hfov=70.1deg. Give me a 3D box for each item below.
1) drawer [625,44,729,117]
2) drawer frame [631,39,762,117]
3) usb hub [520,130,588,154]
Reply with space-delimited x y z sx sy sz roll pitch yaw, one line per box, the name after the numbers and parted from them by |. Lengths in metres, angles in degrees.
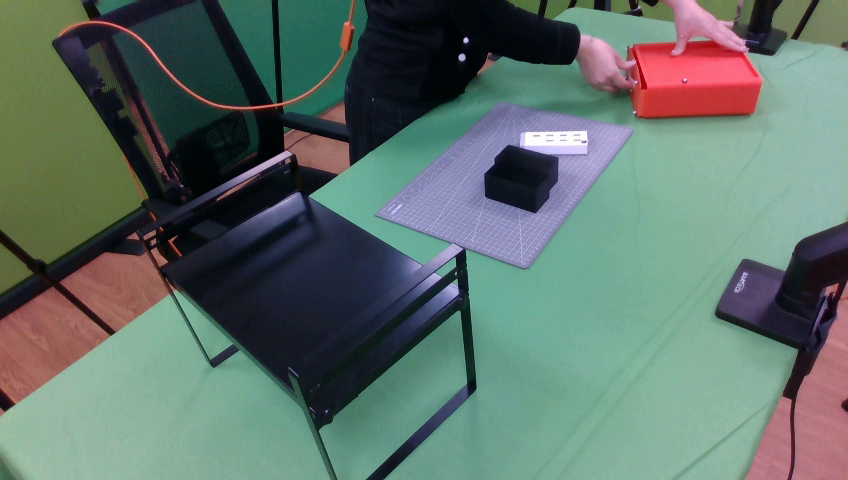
0.528 -0.330 1.236 0.211 0.073 0.194 1 41 8 | drawer
0.540 -0.332 1.234 0.213 0.083 0.201 0 41 7 | drawer frame
0.247 -0.185 1.147 0.125 0.025 0.049 1 43 10 | usb hub
